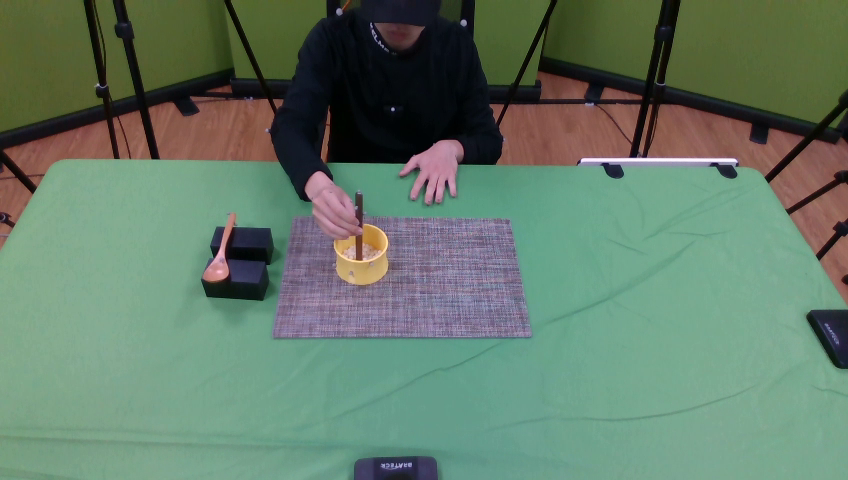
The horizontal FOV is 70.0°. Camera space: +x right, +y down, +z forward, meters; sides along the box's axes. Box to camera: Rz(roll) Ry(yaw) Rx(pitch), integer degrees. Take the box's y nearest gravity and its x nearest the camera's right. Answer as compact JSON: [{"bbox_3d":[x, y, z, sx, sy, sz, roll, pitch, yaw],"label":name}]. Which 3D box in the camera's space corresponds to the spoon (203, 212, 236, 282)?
[{"bbox_3d":[-0.361,0.009,1.097,0.041,0.022,0.192,0,44,-3],"label":"spoon"}]

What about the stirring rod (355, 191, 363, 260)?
[{"bbox_3d":[-0.116,-0.019,1.088,0.014,0.177,0.006,21,47,14],"label":"stirring rod"}]

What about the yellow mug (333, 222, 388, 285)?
[{"bbox_3d":[-0.126,0.015,1.139,0.100,0.064,0.130,-24,51,-24],"label":"yellow mug"}]
